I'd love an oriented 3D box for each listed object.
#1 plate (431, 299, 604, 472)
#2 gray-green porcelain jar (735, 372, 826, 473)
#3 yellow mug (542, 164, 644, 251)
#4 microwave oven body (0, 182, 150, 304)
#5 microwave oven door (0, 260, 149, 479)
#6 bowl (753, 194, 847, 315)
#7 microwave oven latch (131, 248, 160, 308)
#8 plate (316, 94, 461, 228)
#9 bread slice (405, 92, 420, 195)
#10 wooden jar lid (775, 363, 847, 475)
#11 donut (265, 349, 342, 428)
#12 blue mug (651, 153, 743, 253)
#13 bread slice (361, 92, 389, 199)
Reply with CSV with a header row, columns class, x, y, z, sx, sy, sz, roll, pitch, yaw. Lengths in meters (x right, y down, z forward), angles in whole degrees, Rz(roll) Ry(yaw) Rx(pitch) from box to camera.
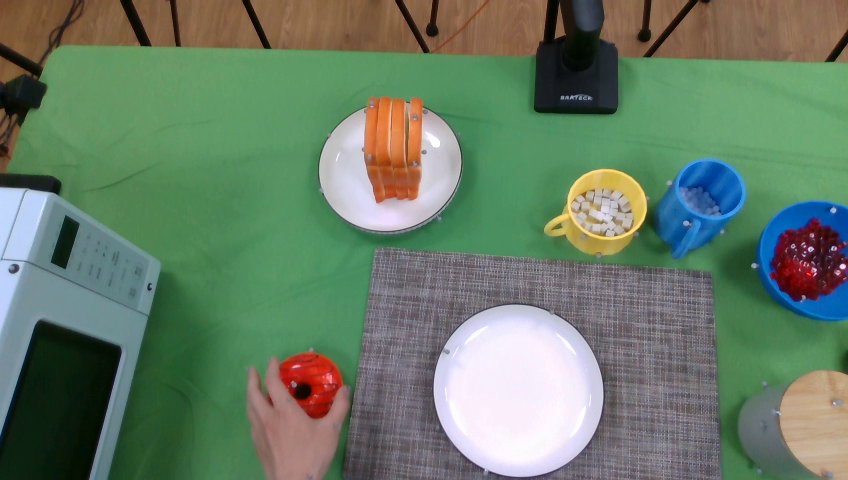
class,x,y,z,sx,sy,sz,roll,pitch,yaw
plate,0.114,0.177,0.749,0.209,0.038,0.207,-2,71,5
gray-green porcelain jar,0.414,0.201,0.669,0.106,0.127,0.105,-2,71,5
yellow mug,0.219,-0.038,0.802,0.131,0.064,0.099,-18,70,0
microwave oven body,-0.558,0.175,0.693,0.325,0.262,0.439,4,72,6
microwave oven door,-0.418,0.223,0.659,0.039,0.245,0.353,4,71,7
bowl,0.475,0.026,0.749,0.151,0.077,0.150,-2,71,5
microwave oven latch,-0.384,0.050,0.823,0.030,0.030,0.078,8,72,8
plate,-0.049,-0.111,0.868,0.207,0.039,0.206,-2,71,5
bread slice,-0.015,-0.132,0.814,0.019,0.132,0.104,2,73,-2
wooden jar lid,0.408,0.180,0.610,0.108,0.021,0.107,-1,72,3
donut,-0.152,0.189,0.771,0.099,0.048,0.098,-1,71,3
blue mug,0.338,-0.037,0.770,0.082,0.106,0.116,23,75,13
bread slice,-0.065,-0.134,0.819,0.018,0.135,0.106,1,67,4
